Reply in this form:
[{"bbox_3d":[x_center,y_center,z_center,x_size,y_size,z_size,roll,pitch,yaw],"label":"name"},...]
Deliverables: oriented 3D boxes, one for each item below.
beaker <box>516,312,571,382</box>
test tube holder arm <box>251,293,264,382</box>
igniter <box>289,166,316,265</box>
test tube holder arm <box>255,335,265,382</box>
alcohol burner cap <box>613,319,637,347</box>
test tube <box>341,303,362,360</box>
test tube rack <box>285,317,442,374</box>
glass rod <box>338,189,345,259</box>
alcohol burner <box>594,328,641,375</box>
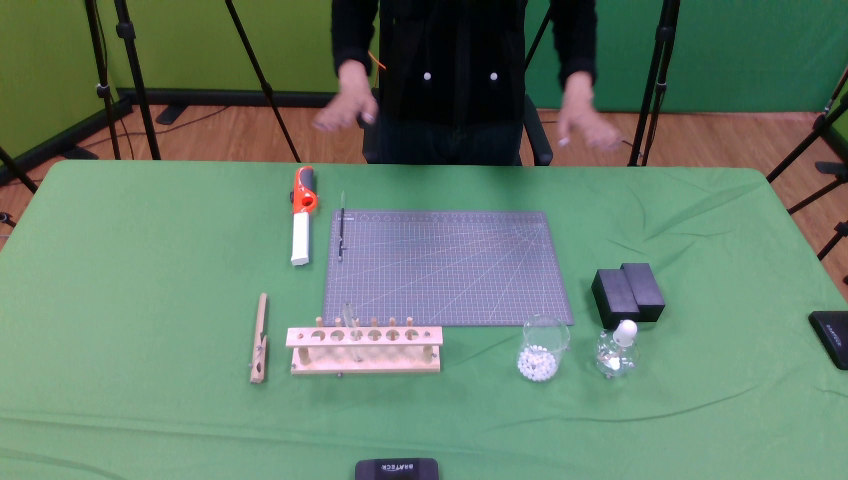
[{"bbox_3d":[0.190,0.180,0.985,0.073,0.101,0.084,30,52,24],"label":"beaker"},{"bbox_3d":[-0.281,0.160,1.025,0.013,0.015,0.177,23,36,-32],"label":"test tube holder arm"},{"bbox_3d":[-0.248,-0.058,1.233,0.057,0.025,0.274,-9,47,1],"label":"igniter"},{"bbox_3d":[-0.270,0.193,0.997,0.010,0.015,0.087,23,36,-32],"label":"test tube holder arm"},{"bbox_3d":[0.323,0.146,0.966,0.034,0.048,0.033,-1,52,2],"label":"alcohol burner cap"},{"bbox_3d":[-0.111,0.145,0.938,0.017,0.151,0.017,-1,50,2],"label":"test tube"},{"bbox_3d":[-0.095,0.166,0.988,0.242,0.085,0.066,0,46,-4],"label":"test tube rack"},{"bbox_3d":[-0.166,-0.037,1.227,0.008,0.008,0.198,-1,46,-4],"label":"glass rod"},{"bbox_3d":[0.322,0.170,0.994,0.078,0.119,0.077,3,48,-3],"label":"alcohol burner"}]
